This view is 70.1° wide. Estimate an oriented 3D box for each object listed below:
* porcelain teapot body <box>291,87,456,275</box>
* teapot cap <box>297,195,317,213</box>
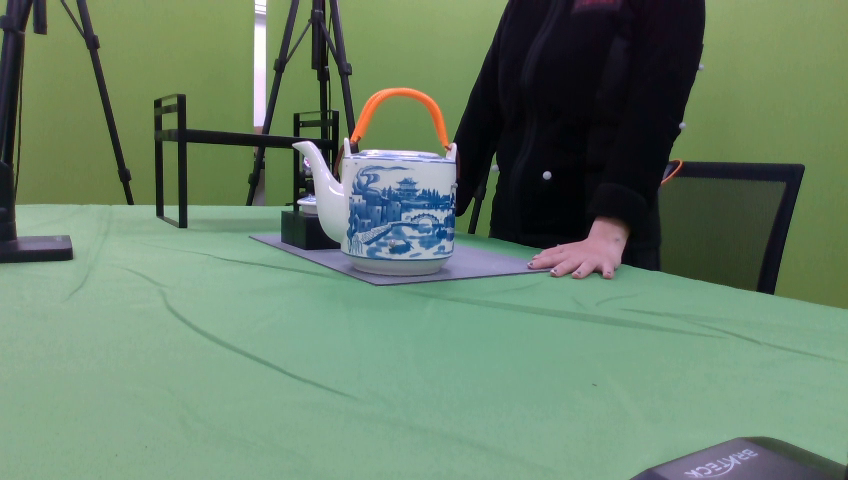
[{"bbox_3d":[-0.060,-0.076,0.754,0.206,0.225,0.145,0,8,-12],"label":"porcelain teapot body"},{"bbox_3d":[-0.157,-0.065,0.951,0.085,0.044,0.085,0,9,0],"label":"teapot cap"}]
